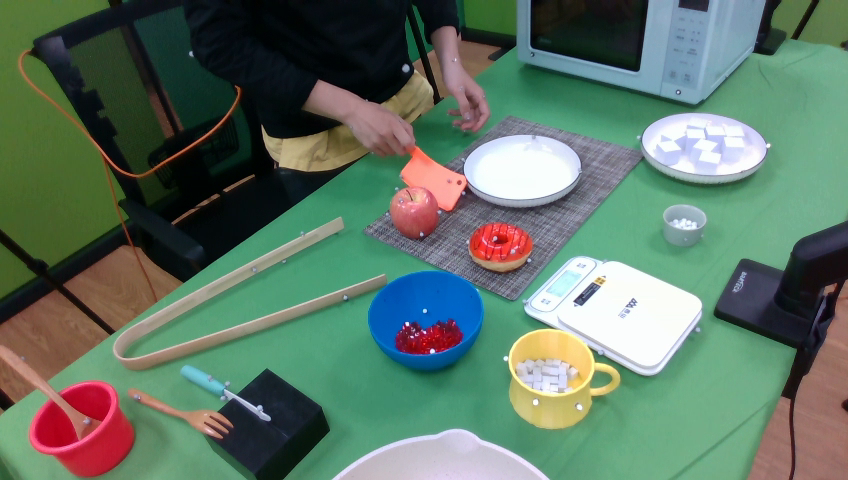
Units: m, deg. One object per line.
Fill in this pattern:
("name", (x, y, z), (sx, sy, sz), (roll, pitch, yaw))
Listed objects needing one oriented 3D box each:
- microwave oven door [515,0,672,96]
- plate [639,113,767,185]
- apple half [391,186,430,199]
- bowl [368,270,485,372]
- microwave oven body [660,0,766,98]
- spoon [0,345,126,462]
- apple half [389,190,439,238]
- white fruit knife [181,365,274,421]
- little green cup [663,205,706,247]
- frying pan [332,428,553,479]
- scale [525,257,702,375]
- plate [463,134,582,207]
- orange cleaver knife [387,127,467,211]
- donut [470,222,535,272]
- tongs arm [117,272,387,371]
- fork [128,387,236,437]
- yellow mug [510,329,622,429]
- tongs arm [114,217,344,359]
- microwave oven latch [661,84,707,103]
("microwave oven door", (0.343, -0.454, 1.259), (0.353, 0.245, 0.039), (26, 51, 33))
("plate", (0.489, -0.157, 1.074), (0.207, 0.039, 0.206), (-4, 40, 4))
("apple half", (-0.019, -0.061, 1.002), (0.081, 0.081, 0.032), (-9, 44, -2))
("bowl", (0.007, 0.118, 0.791), (0.151, 0.077, 0.150), (-4, 40, 4))
("microwave oven body", (0.472, -0.513, 1.317), (0.438, 0.261, 0.327), (26, 51, 34))
("spoon", (-0.434, 0.192, 0.720), (0.194, 0.021, 0.042), (47, 53, -7))
("apple half", (-0.014, -0.035, 0.973), (0.081, 0.075, 0.053), (-7, 44, -4))
("white fruit knife", (-0.245, 0.187, 0.747), (0.205, 0.027, 0.016), (9, 41, 40))
("little green cup", (0.396, -0.021, 0.926), (0.061, 0.039, 0.061), (-4, 40, 4))
("frying pan", (-0.089, 0.306, 0.564), (0.487, 0.103, 0.306), (10, 41, 7))
("scale", (0.254, 0.091, 0.821), (0.199, 0.032, 0.149), (28, 51, 35))
("plate", (0.173, -0.119, 1.070), (0.209, 0.038, 0.208), (-4, 40, 4))
("orange cleaver knife", (-0.008, -0.128, 1.077), (0.077, 0.012, 0.209), (-47, 62, -2))
("donut", (0.119, 0.009, 0.923), (0.099, 0.048, 0.098), (-4, 38, 3))
("tongs arm", (-0.237, 0.114, 0.869), (0.389, 0.028, 0.028), (-18, 48, -12))
("fork", (-0.305, 0.207, 0.744), (0.206, 0.019, 0.028), (3, 42, 36))
("yellow mug", (0.168, 0.164, 0.721), (0.130, 0.064, 0.099), (0, 40, 8))
("tongs arm", (-0.280, 0.068, 0.927), (0.386, 0.026, 0.050), (-29, 48, -23))
("microwave oven latch", (0.517, -0.296, 1.204), (0.078, 0.029, 0.030), (27, 52, 35))
